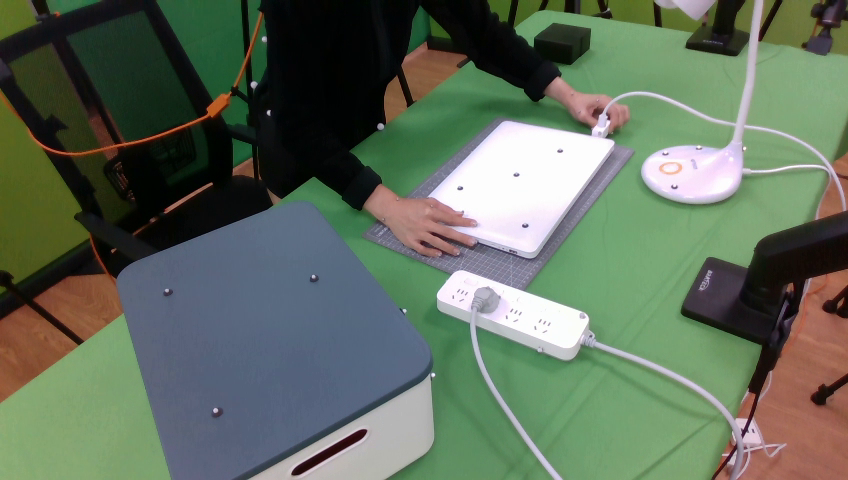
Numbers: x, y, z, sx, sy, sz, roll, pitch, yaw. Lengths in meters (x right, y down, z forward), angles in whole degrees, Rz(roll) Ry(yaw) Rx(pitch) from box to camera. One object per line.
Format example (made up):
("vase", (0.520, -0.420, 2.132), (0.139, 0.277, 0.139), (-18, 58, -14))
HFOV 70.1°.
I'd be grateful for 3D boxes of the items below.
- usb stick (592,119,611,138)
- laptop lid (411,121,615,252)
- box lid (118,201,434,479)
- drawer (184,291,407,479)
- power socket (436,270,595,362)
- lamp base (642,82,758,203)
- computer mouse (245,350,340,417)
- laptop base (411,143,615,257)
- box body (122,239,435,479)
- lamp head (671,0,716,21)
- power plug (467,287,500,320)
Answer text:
("usb stick", (0.335, -0.205, 1.152), (0.021, 0.027, 0.059), (23, 51, 23))
("laptop lid", (0.164, -0.112, 1.069), (0.240, 0.013, 0.357), (19, 46, 31))
("box lid", (-0.182, 0.087, 0.675), (0.264, 0.015, 0.368), (-25, 42, -20))
("drawer", (-0.155, 0.179, 0.720), (0.195, 0.073, 0.210), (-27, 40, -21))
("power socket", (0.118, 0.101, 0.832), (0.225, 0.033, 0.072), (19, 48, 27))
("lamp base", (0.464, -0.174, 0.993), (0.179, 0.181, 0.159), (-5, 41, -1))
("computer mouse", (-0.165, 0.173, 0.754), (0.118, 0.041, 0.062), (-18, 34, -18))
("laptop base", (0.167, -0.103, 1.074), (0.234, 0.023, 0.355), (16, 45, 30))
("box body", (-0.175, 0.142, 0.725), (0.255, 0.161, 0.360), (-25, 43, -20))
("lamp head", (0.375, -0.373, 0.808), (0.122, 0.113, 0.112), (-40, 27, 32))
("power plug", (0.073, 0.092, 0.814), (0.035, 0.053, 0.073), (29, 54, 34))
